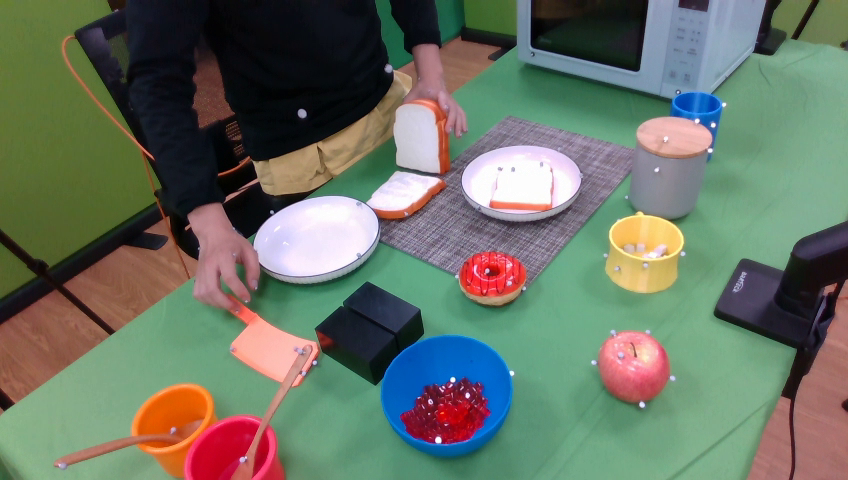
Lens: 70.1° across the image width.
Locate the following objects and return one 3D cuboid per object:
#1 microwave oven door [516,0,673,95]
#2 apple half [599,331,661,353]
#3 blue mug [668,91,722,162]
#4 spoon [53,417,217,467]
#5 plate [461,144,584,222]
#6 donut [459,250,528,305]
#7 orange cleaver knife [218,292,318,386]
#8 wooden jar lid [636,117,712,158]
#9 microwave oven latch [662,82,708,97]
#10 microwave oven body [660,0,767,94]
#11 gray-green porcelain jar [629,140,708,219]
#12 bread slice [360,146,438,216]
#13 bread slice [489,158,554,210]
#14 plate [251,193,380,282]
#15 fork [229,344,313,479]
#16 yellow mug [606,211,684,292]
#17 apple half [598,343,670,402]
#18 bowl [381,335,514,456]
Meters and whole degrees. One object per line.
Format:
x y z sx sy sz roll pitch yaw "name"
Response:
0.344 -0.458 1.256 0.353 0.245 0.039 26 51 33 "microwave oven door"
0.249 0.134 0.738 0.081 0.081 0.032 -1 46 7 "apple half"
0.475 -0.207 1.079 0.082 0.106 0.116 4 42 13 "blue mug"
-0.308 0.219 0.663 0.041 0.195 0.021 25 94 29 "spoon"
0.168 -0.095 1.040 0.207 0.039 0.206 -4 40 4 "plate"
0.100 0.053 0.872 0.099 0.048 0.098 -5 40 4 "donut"
-0.235 0.136 0.850 0.209 0.012 0.077 25 57 30 "orange cleaver knife"
0.377 -0.151 0.917 0.108 0.021 0.108 -2 42 3 "wooden jar lid"
0.518 -0.298 1.202 0.078 0.029 0.030 28 53 35 "microwave oven latch"
0.473 -0.516 1.313 0.438 0.261 0.327 26 51 34 "microwave oven body"
0.383 -0.105 0.958 0.106 0.127 0.105 -4 41 4 "gray-green porcelain jar"
-0.053 -0.103 1.046 0.106 0.018 0.134 18 66 23 "bread slice"
0.172 -0.099 1.047 0.104 0.019 0.131 5 43 12 "bread slice"
-0.173 -0.001 0.984 0.209 0.038 0.208 -4 40 4 "plate"
-0.173 0.205 0.662 0.028 0.019 0.207 29 94 36 "fork"
0.318 0.008 0.883 0.100 0.064 0.130 0 40 9 "yellow mug"
0.247 0.161 0.710 0.081 0.075 0.053 2 47 5 "apple half"
0.029 0.192 0.701 0.151 0.077 0.150 -4 40 4 "bowl"
